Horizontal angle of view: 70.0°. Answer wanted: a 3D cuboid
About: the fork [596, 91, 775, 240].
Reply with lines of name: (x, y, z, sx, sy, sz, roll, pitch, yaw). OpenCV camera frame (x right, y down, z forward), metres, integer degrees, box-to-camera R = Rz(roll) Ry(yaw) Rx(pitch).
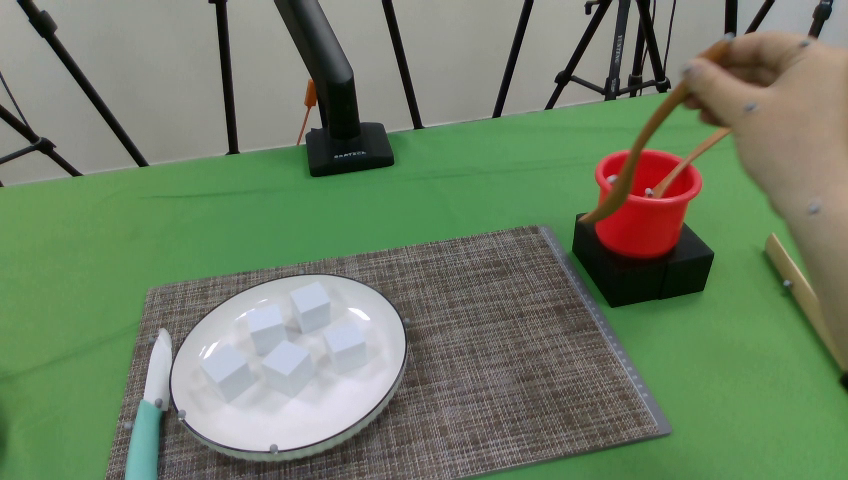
fork: (0.254, -0.071, 0.593, 0.207, 0.019, 0.028, -45, 30, 15)

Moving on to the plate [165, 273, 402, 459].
plate: (-0.122, 0.111, 0.551, 0.207, 0.039, 0.205, -2, 38, 2)

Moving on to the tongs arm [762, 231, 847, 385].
tongs arm: (0.381, 0.117, 0.521, 0.028, 0.028, 0.383, 0, 38, 0)

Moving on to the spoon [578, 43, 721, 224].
spoon: (0.157, -0.067, 0.443, 0.041, 0.195, 0.021, -30, 65, -25)

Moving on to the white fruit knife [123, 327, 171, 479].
white fruit knife: (-0.240, 0.148, 0.532, 0.027, 0.016, 0.205, 14, 29, -25)
